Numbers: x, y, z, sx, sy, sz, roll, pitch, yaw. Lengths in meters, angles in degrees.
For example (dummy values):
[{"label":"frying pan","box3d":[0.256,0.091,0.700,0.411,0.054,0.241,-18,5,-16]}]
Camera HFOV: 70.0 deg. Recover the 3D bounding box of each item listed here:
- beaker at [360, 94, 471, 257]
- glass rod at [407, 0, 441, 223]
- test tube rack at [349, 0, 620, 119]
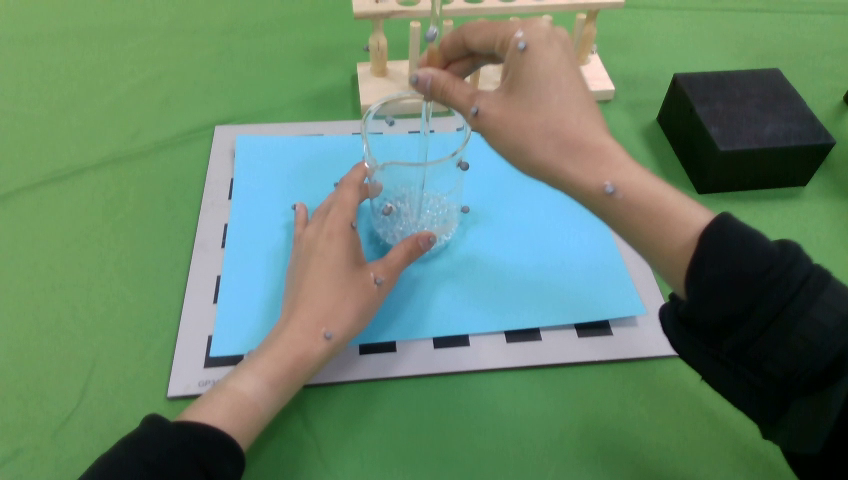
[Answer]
[{"label":"beaker","box3d":[-0.009,-0.041,0.438,0.073,0.101,0.084,34,58,24]},{"label":"glass rod","box3d":[-0.001,-0.082,0.370,0.008,0.201,0.008,4,47,-4]},{"label":"test tube rack","box3d":[0.056,-0.175,0.564,0.243,0.086,0.066,-5,51,-6]}]
